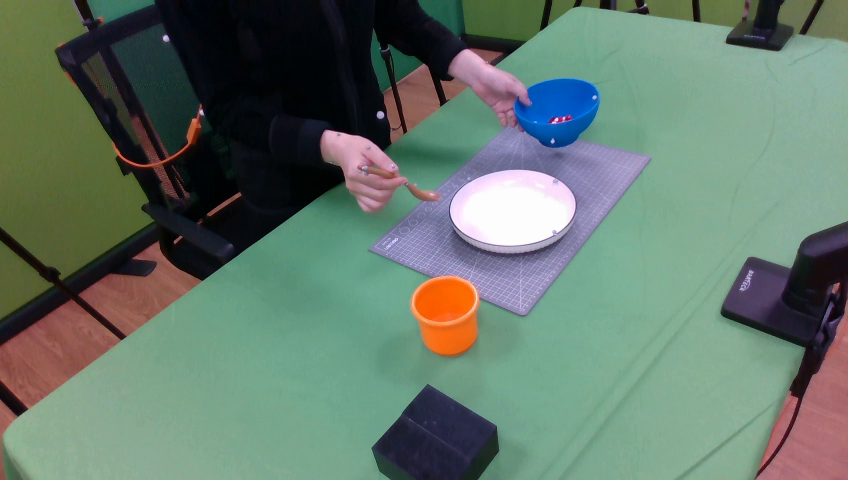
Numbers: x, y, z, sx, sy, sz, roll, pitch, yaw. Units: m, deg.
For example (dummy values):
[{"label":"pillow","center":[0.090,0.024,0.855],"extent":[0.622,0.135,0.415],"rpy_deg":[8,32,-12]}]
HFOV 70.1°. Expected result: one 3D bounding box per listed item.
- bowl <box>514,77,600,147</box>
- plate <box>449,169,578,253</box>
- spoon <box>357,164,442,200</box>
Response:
[{"label":"bowl","center":[0.242,-0.221,1.089],"extent":[0.151,0.077,0.150],"rpy_deg":[-10,42,9]},{"label":"plate","center":[0.146,-0.044,0.993],"extent":[0.209,0.038,0.208],"rpy_deg":[-5,40,5]},{"label":"spoon","center":[-0.033,-0.084,0.865],"extent":[0.041,0.195,0.021],"rpy_deg":[25,93,34]}]
